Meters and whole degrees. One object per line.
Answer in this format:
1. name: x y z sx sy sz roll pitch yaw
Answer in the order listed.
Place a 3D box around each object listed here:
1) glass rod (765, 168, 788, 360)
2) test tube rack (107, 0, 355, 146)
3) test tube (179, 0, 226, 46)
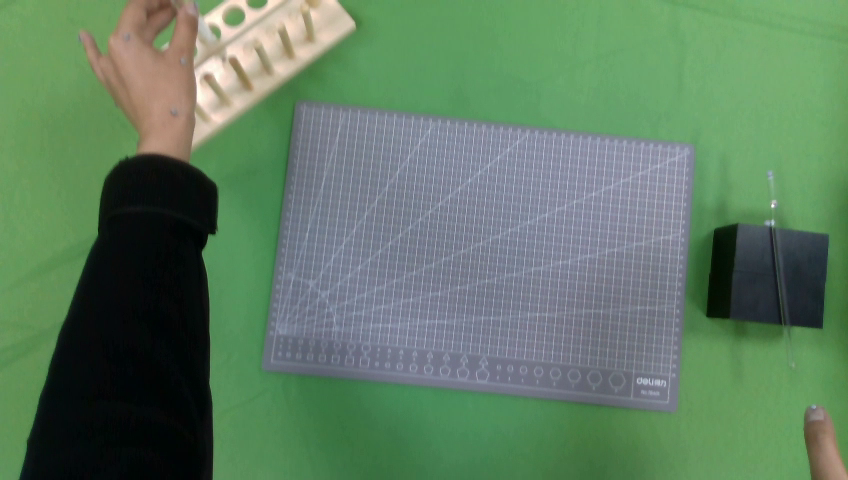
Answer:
1. glass rod: 0.366 0.024 0.629 0.008 0.008 0.199 -3 87 -3
2. test tube rack: -0.190 -0.205 0.627 0.242 0.085 0.066 -39 87 -4
3. test tube: -0.213 -0.218 0.552 0.017 0.151 0.017 0 81 2
